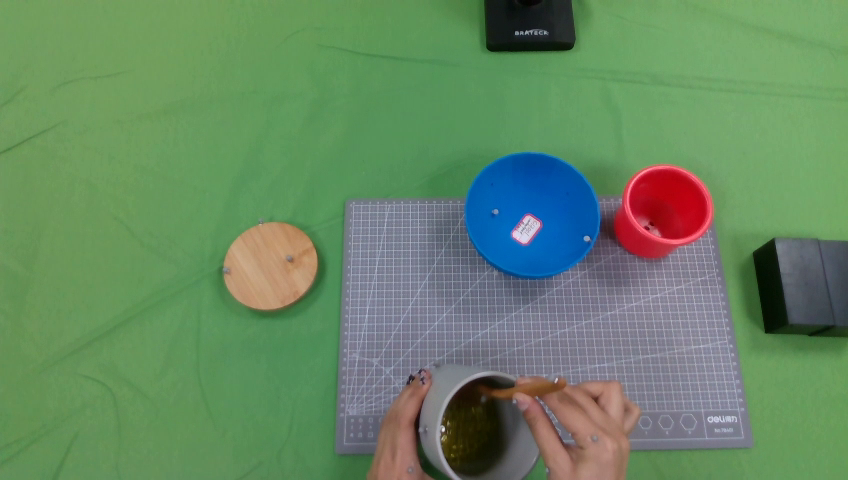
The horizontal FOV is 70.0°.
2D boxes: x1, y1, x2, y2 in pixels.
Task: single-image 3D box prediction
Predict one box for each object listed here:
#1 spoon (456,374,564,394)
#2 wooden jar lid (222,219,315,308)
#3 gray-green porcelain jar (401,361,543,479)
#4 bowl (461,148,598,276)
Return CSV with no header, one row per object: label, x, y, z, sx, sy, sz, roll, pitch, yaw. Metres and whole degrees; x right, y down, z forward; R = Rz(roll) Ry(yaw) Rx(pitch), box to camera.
spoon,0.070,0.130,0.547,0.042,0.193,0.021,36,70,-10
wooden jar lid,-0.182,0.029,0.714,0.108,0.021,0.107,0,70,1
gray-green porcelain jar,0.039,0.174,0.594,0.106,0.126,0.105,2,83,-18
bowl,0.116,-0.022,0.698,0.151,0.077,0.150,0,70,0
